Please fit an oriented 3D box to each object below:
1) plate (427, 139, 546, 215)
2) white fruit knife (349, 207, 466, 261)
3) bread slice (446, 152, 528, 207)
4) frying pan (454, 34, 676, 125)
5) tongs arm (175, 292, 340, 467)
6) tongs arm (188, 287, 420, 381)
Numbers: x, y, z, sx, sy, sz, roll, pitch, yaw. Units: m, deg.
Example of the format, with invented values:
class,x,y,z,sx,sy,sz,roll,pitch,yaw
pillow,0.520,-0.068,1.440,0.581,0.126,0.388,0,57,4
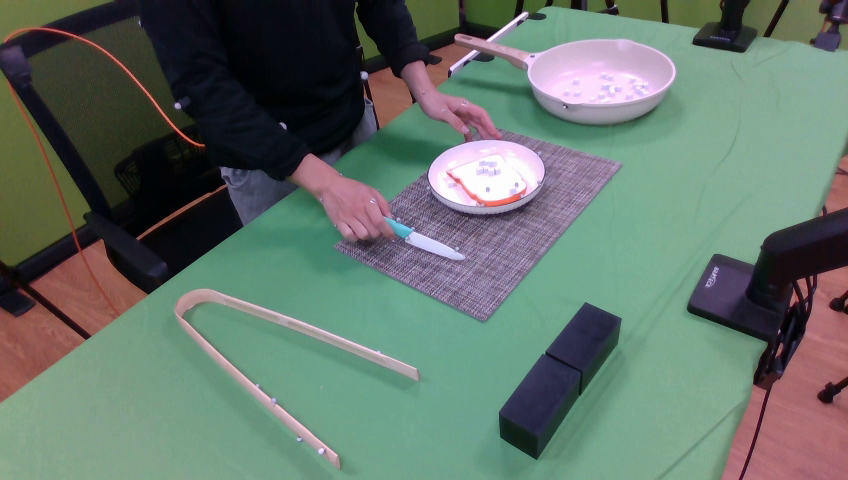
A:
class,x,y,z,sx,sy,sz,roll,pitch,yaw
plate,0.109,-0.106,1.058,0.207,0.039,0.206,-4,41,4
white fruit knife,-0.027,-0.010,0.940,0.206,0.027,0.016,23,27,18
bread slice,0.117,-0.104,1.057,0.107,0.018,0.133,-24,42,-18
frying pan,0.277,-0.370,1.295,0.485,0.103,0.307,26,49,22
tongs arm,-0.225,0.168,0.793,0.381,0.026,0.051,25,49,33
tongs arm,-0.177,0.126,0.842,0.385,0.028,0.028,15,48,24
